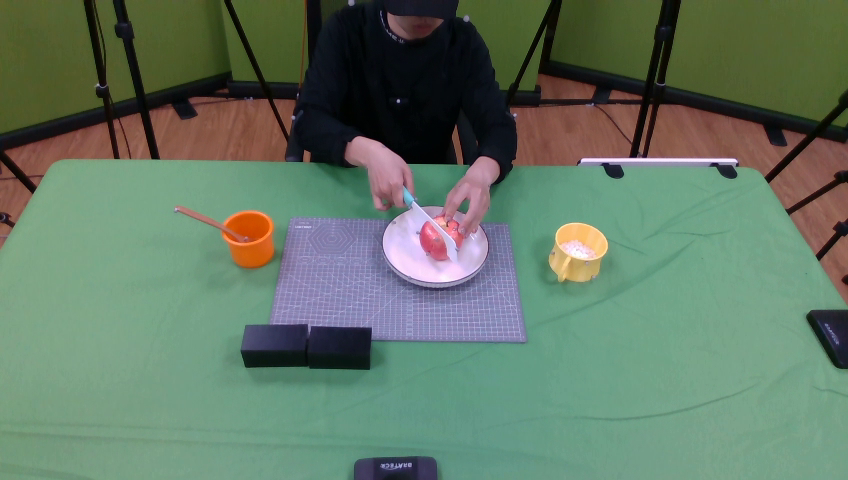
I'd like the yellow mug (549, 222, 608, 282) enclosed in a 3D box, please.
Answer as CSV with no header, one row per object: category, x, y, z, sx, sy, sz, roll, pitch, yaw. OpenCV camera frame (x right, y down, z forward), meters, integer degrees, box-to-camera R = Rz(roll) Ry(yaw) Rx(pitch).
yellow mug,0.287,0.031,1.159,0.099,0.064,0.130,27,51,21

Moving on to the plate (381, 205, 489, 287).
plate,0.020,0.015,1.170,0.209,0.038,0.208,2,46,-2

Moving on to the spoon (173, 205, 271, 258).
spoon,-0.362,-0.017,1.098,0.021,0.195,0.041,-32,42,27

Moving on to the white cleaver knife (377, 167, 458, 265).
white cleaver knife,-0.018,-0.050,1.171,0.021,0.066,0.284,-23,48,-22

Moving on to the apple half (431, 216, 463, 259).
apple half,0.046,-0.007,1.157,0.053,0.075,0.080,-18,44,-26

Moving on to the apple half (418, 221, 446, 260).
apple half,0.009,0.008,1.140,0.033,0.082,0.081,-25,53,-22
